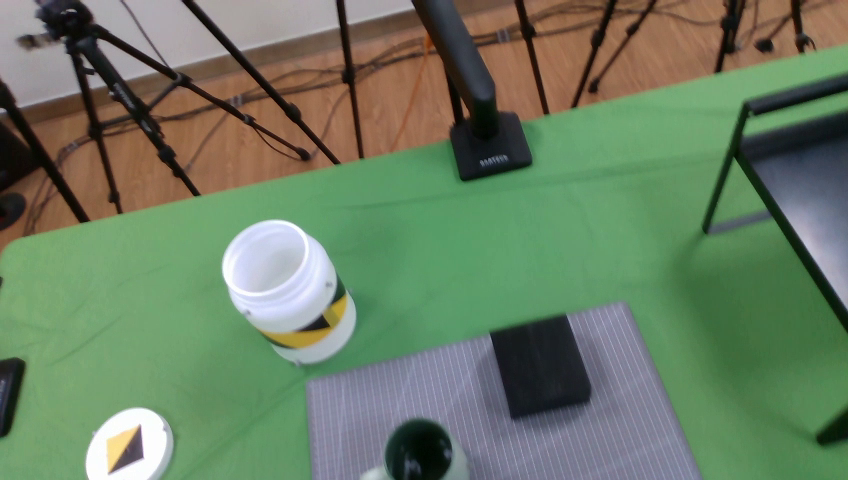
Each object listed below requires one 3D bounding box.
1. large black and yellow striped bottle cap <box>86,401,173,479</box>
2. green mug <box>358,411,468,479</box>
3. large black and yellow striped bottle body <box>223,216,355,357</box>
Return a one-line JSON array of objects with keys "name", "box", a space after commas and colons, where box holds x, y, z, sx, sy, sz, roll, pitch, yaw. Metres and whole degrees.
[{"name": "large black and yellow striped bottle cap", "box": [-0.395, 0.274, 0.813, 0.115, 0.019, 0.114, -5, 56, 8]}, {"name": "green mug", "box": [-0.015, 0.256, 0.695, 0.125, 0.106, 0.091, -21, 56, -3]}, {"name": "large black and yellow striped bottle body", "box": [-0.176, 0.063, 0.805, 0.130, 0.186, 0.129, -5, 56, 8]}]
